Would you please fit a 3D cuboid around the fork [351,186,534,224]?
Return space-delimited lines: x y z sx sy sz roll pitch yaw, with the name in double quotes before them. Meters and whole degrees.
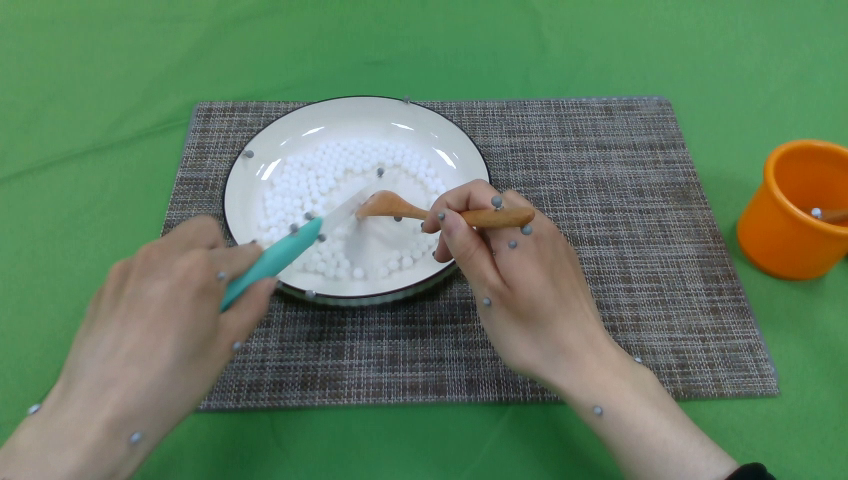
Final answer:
"fork" 0.000 -0.022 0.400 0.028 0.019 0.206 -48 29 -20

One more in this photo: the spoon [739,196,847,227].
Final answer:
"spoon" 0.314 -0.022 0.420 0.041 0.192 0.022 -31 104 -25

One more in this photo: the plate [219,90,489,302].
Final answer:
"plate" -0.052 -0.037 0.484 0.209 0.038 0.207 1 55 -1

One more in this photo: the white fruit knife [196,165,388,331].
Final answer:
"white fruit knife" -0.084 -0.007 0.436 0.016 0.027 0.207 26 43 17
